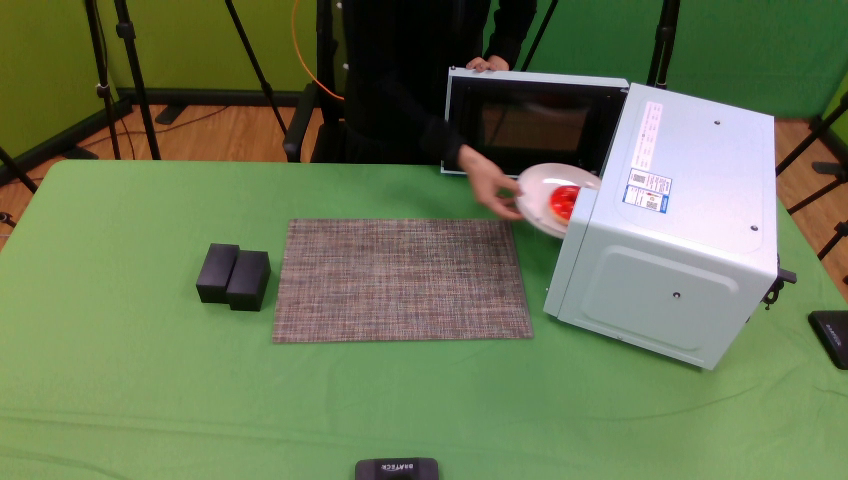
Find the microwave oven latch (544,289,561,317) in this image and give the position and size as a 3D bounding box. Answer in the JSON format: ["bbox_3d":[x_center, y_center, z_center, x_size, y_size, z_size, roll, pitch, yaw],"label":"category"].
[{"bbox_3d":[0.237,0.098,1.087,0.030,0.029,0.079,17,47,13],"label":"microwave oven latch"}]

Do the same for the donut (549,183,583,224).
[{"bbox_3d":[0.285,-0.069,1.150,0.099,0.048,0.098,5,47,-5],"label":"donut"}]

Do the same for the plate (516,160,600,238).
[{"bbox_3d":[0.274,-0.073,1.164,0.209,0.038,0.208,8,46,-8],"label":"plate"}]

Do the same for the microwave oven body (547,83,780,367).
[{"bbox_3d":[0.445,-0.041,1.101,0.325,0.261,0.440,17,47,13],"label":"microwave oven body"}]

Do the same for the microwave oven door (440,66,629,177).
[{"bbox_3d":[0.219,-0.238,1.265,0.356,0.245,0.039,4,46,0],"label":"microwave oven door"}]
